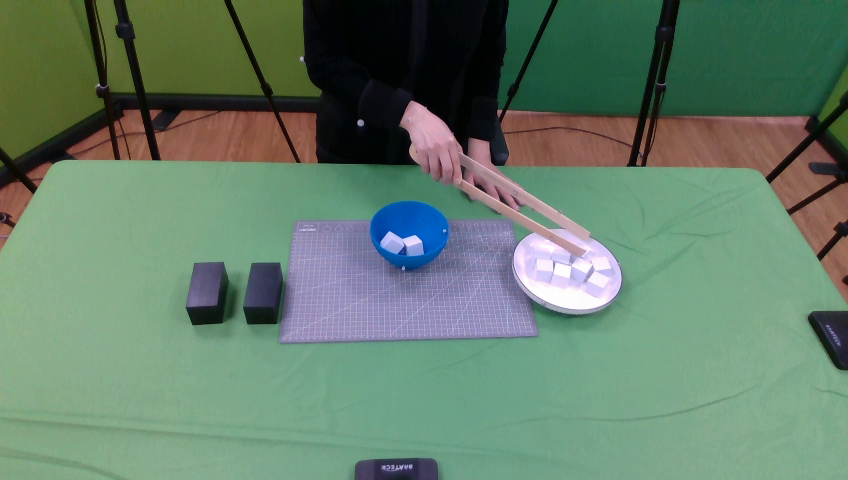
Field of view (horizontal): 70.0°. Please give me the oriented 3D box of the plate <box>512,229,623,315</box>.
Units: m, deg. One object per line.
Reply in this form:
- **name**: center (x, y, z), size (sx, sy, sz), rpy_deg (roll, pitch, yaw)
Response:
- **plate**: center (0.268, 0.063, 1.145), size (0.208, 0.039, 0.206), rpy_deg (3, 45, -3)

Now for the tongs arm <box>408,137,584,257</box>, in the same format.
- **tongs arm**: center (0.133, -0.075, 1.136), size (0.388, 0.028, 0.028), rpy_deg (32, 56, -2)

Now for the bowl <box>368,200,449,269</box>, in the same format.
- **bowl**: center (-0.030, 0.002, 1.151), size (0.151, 0.077, 0.150), rpy_deg (2, 46, -2)

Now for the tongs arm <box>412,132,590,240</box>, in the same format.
- **tongs arm**: center (0.145, -0.097, 1.155), size (0.385, 0.026, 0.050), rpy_deg (33, 53, -1)
